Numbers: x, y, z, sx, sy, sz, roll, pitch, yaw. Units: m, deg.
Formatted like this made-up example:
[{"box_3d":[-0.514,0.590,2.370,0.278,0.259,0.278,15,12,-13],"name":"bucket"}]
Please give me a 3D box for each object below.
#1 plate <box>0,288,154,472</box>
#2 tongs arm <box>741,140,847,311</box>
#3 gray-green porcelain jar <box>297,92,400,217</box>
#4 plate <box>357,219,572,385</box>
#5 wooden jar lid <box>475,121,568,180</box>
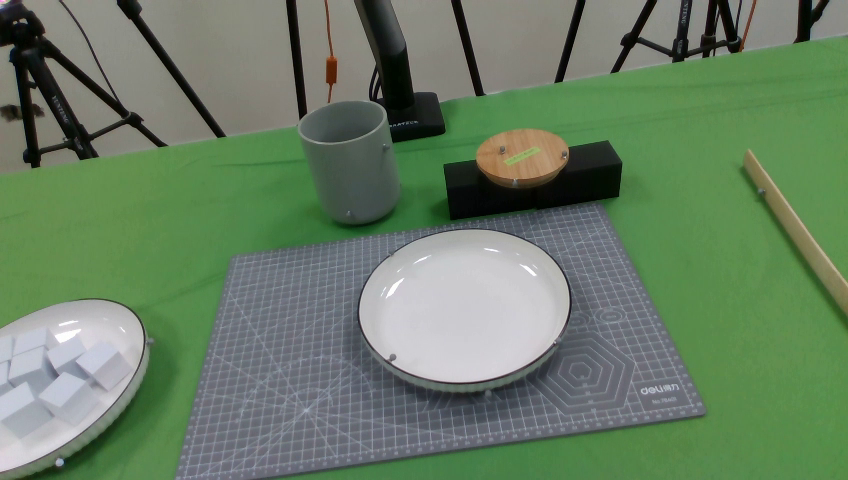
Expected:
[{"box_3d":[-0.365,0.134,0.592,0.207,0.039,0.205,-5,41,5],"name":"plate"},{"box_3d":[0.397,0.012,0.596,0.028,0.028,0.383,-5,41,2],"name":"tongs arm"},{"box_3d":[-0.087,-0.100,0.740,0.106,0.128,0.105,-5,41,5],"name":"gray-green porcelain jar"},{"box_3d":[0.039,0.059,0.597,0.209,0.038,0.207,-5,41,5],"name":"plate"},{"box_3d":[0.115,-0.105,0.712,0.108,0.021,0.107,-5,42,5],"name":"wooden jar lid"}]
